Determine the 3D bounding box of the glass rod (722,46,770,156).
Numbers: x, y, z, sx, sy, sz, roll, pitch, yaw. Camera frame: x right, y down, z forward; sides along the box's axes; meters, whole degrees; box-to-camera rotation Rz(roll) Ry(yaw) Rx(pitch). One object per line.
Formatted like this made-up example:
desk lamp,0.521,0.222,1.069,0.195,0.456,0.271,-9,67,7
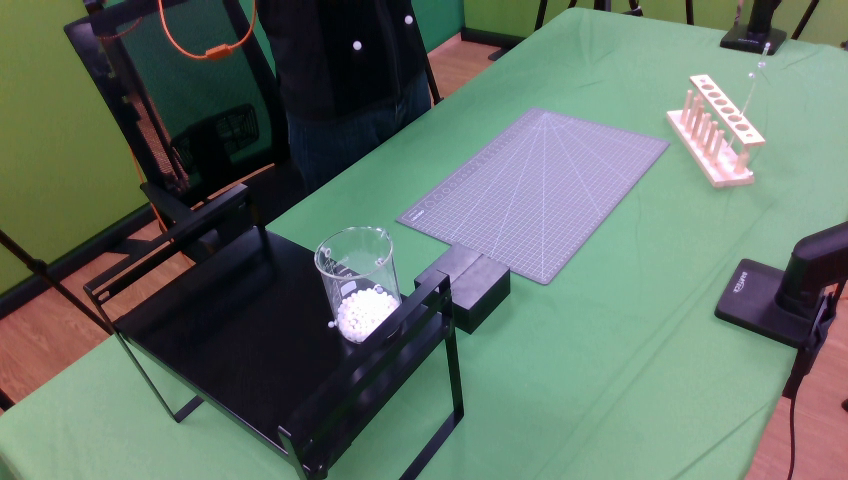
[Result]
glass rod,0.533,-0.226,1.006,0.008,0.200,0.008,1,41,-1

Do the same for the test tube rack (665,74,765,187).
test tube rack,0.512,-0.201,1.082,0.067,0.085,0.241,-6,41,2

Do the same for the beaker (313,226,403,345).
beaker,-0.059,0.046,0.594,0.073,0.101,0.084,23,49,30
